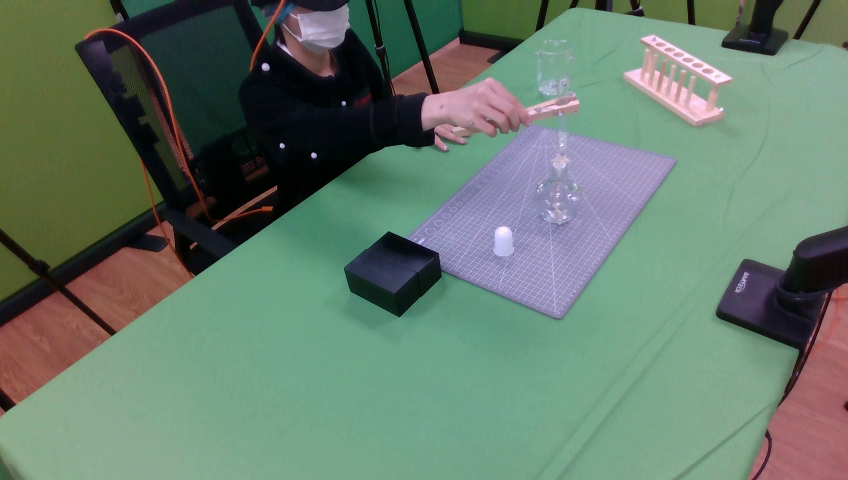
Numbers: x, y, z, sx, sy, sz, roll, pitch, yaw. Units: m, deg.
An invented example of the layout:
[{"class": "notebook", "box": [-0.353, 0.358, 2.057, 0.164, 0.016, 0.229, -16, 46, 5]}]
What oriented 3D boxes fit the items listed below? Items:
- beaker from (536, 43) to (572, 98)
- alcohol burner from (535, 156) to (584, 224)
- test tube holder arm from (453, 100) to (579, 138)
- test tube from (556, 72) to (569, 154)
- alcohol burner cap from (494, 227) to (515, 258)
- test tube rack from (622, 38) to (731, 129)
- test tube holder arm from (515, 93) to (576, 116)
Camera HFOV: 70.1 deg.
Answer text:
[{"class": "beaker", "box": [0.280, -0.368, 1.311, 0.074, 0.101, 0.084, 4, 41, 14]}, {"class": "alcohol burner", "box": [0.217, -0.085, 0.967, 0.078, 0.119, 0.077, -3, 41, 3]}, {"class": "test tube holder arm", "box": [0.129, -0.170, 0.851, 0.178, 0.015, 0.013, -13, 51, 6]}, {"class": "test tube", "box": [0.198, -0.177, 0.863, 0.017, 0.151, 0.017, -6, 55, 10]}, {"class": "alcohol burner cap", "box": [0.124, 0.001, 0.936, 0.034, 0.048, 0.033, -4, 40, 4]}, {"class": "test tube rack", "box": [0.506, -0.325, 1.234, 0.067, 0.085, 0.240, -18, 41, -11]}, {"class": "test tube holder arm", "box": [0.171, -0.186, 0.851, 0.088, 0.015, 0.010, -18, 52, 1]}]
